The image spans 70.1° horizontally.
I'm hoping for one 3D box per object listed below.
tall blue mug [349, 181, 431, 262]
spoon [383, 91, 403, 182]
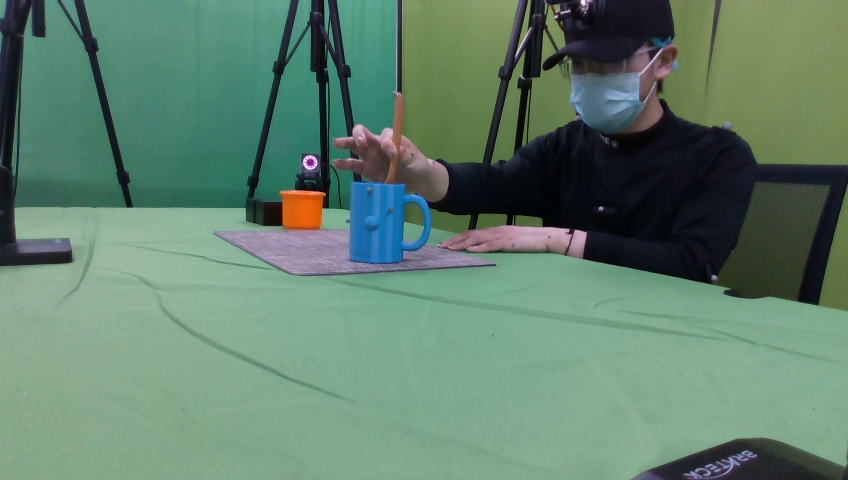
[{"bbox_3d":[-0.051,-0.028,0.849,0.108,0.108,0.077,-1,7,-22],"label":"tall blue mug"},{"bbox_3d":[-0.045,-0.106,0.826,0.042,0.193,0.021,6,7,-34],"label":"spoon"}]
